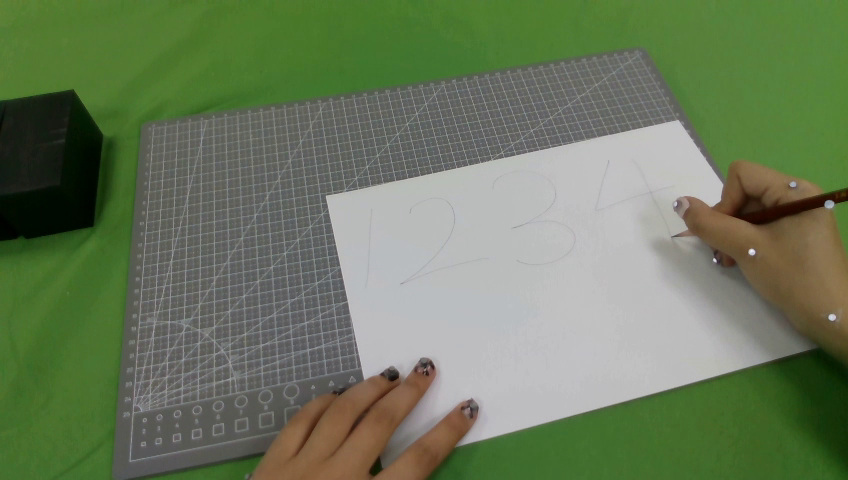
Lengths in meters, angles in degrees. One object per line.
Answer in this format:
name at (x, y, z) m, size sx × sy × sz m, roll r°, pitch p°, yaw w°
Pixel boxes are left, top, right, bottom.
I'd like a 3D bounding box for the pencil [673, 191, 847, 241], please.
pencil at (0.229, -0.020, 0.358) m, size 0.012 × 0.193 × 0.012 m, roll 8°, pitch 74°, yaw -29°
